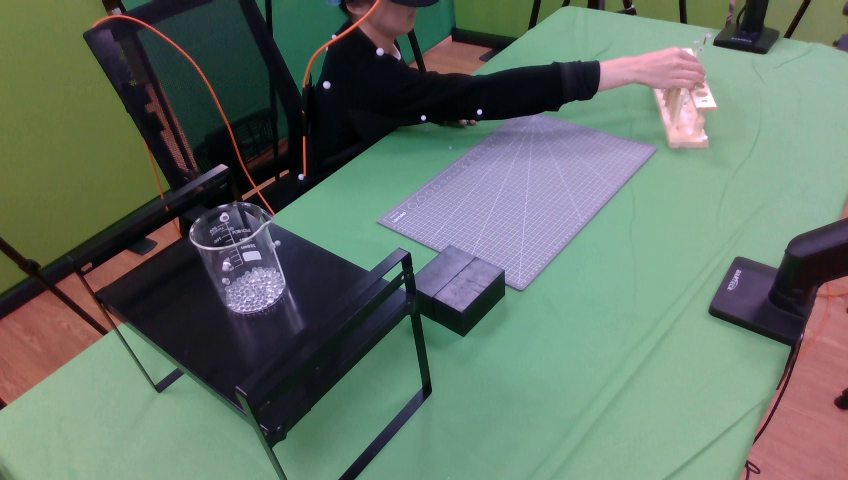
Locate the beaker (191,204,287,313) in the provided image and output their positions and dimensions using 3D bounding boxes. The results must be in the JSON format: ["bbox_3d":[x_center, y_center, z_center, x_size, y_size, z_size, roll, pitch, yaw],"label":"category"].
[{"bbox_3d":[-0.189,0.021,0.642,0.084,0.101,0.073,-16,41,-11],"label":"beaker"}]

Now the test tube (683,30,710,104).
[{"bbox_3d":[0.516,-0.325,1.149,0.017,0.151,0.017,-3,45,3],"label":"test tube"}]

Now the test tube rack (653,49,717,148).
[{"bbox_3d":[0.502,-0.281,1.177,0.066,0.085,0.241,1,41,11],"label":"test tube rack"}]
